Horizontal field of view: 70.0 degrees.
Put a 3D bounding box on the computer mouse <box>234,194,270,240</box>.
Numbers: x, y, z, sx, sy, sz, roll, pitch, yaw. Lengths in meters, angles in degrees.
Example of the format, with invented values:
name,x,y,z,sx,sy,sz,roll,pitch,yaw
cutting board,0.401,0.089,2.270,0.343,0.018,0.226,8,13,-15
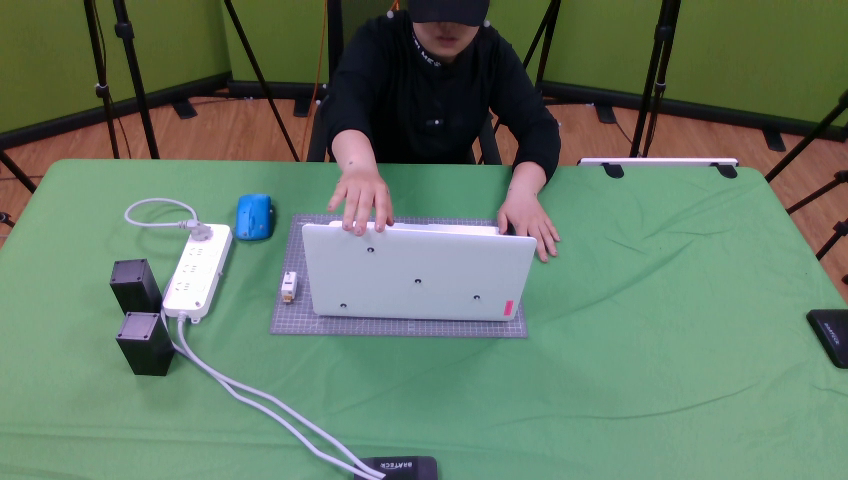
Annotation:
name,x,y,z,sx,sy,sz,roll,pitch,yaw
computer mouse,-0.341,-0.049,1.208,0.063,0.041,0.116,0,50,-7

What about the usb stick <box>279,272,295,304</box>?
name,x,y,z,sx,sy,sz,roll,pitch,yaw
usb stick,-0.246,0.088,1.085,0.021,0.027,0.059,3,47,-3

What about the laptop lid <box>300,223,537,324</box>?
name,x,y,z,sx,sy,sz,roll,pitch,yaw
laptop lid,-0.012,0.061,0.971,0.357,0.243,0.013,3,48,-3

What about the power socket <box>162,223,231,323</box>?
name,x,y,z,sx,sy,sz,roll,pitch,yaw
power socket,-0.411,0.051,1.107,0.072,0.033,0.225,4,46,-2

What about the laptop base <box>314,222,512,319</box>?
name,x,y,z,sx,sy,sz,roll,pitch,yaw
laptop base,-0.018,0.055,1.145,0.354,0.023,0.234,2,42,-2

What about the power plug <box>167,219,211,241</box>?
name,x,y,z,sx,sy,sz,roll,pitch,yaw
power plug,-0.438,-0.017,1.144,0.072,0.053,0.035,10,44,6
